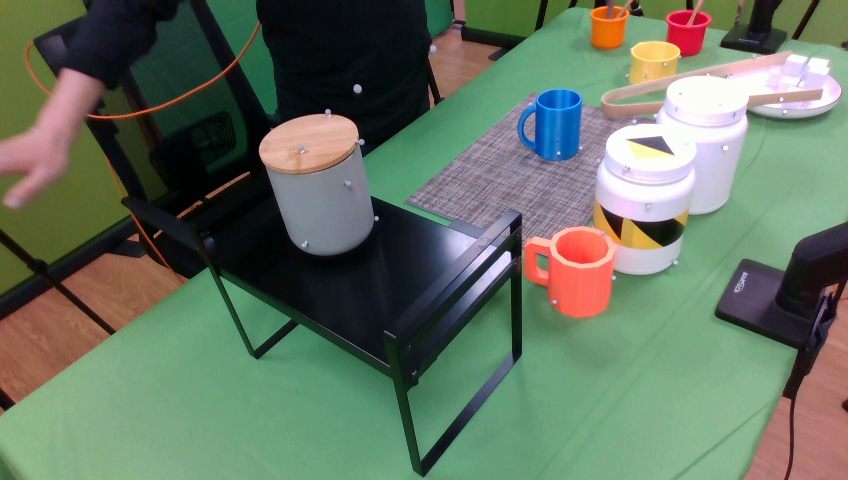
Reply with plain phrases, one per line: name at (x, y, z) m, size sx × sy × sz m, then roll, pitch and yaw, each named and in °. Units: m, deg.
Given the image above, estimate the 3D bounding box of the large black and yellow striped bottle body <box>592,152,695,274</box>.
large black and yellow striped bottle body at (0.313, -0.056, 0.872) m, size 0.131 × 0.185 × 0.130 m, roll -4°, pitch 41°, yaw 4°

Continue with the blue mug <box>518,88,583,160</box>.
blue mug at (0.233, -0.213, 1.121) m, size 0.116 × 0.106 × 0.082 m, roll -6°, pitch 41°, yaw 3°

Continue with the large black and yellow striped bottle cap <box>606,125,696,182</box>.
large black and yellow striped bottle cap at (0.305, -0.119, 0.816) m, size 0.115 × 0.019 × 0.114 m, roll -5°, pitch 41°, yaw 5°

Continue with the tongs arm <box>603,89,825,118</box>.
tongs arm at (0.546, -0.262, 1.163) m, size 0.386 × 0.028 × 0.028 m, roll -1°, pitch 49°, yaw 18°

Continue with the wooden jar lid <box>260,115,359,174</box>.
wooden jar lid at (-0.124, -0.101, 0.662) m, size 0.108 × 0.021 × 0.108 m, roll -4°, pitch 41°, yaw 4°

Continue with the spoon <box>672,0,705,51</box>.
spoon at (0.628, -0.521, 1.395) m, size 0.041 × 0.022 × 0.193 m, roll 30°, pitch 97°, yaw 39°

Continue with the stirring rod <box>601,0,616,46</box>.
stirring rod at (0.452, -0.554, 1.464) m, size 0.014 × 0.006 × 0.176 m, roll 11°, pitch 86°, yaw 15°

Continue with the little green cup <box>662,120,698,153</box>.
little green cup at (0.469, -0.191, 1.117) m, size 0.061 × 0.039 × 0.061 m, roll -5°, pitch 41°, yaw 5°

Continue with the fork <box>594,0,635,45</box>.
fork at (0.484, -0.552, 1.447) m, size 0.207 × 0.019 × 0.028 m, roll -51°, pitch 46°, yaw 17°

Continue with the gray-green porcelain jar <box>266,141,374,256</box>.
gray-green porcelain jar at (-0.117, -0.054, 0.703) m, size 0.106 × 0.127 × 0.105 m, roll -4°, pitch 40°, yaw 4°

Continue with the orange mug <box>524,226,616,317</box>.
orange mug at (0.201, 0.039, 0.845) m, size 0.125 × 0.101 × 0.083 m, roll 18°, pitch 46°, yaw 21°

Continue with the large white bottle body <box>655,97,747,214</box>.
large white bottle body at (0.430, -0.148, 0.959) m, size 0.130 × 0.185 × 0.130 m, roll -4°, pitch 41°, yaw 4°

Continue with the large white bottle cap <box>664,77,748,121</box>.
large white bottle cap at (0.421, -0.212, 0.905) m, size 0.115 × 0.018 × 0.114 m, roll -4°, pitch 40°, yaw 4°

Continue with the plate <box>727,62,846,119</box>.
plate at (0.709, -0.292, 1.197) m, size 0.207 × 0.039 × 0.206 m, roll -4°, pitch 40°, yaw 4°

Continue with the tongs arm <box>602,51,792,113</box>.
tongs arm at (0.552, -0.320, 1.224) m, size 0.384 × 0.027 × 0.050 m, roll -10°, pitch 43°, yaw 7°

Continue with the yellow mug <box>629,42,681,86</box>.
yellow mug at (0.495, -0.389, 1.321) m, size 0.100 × 0.064 × 0.130 m, roll -14°, pitch 40°, yaw -6°
